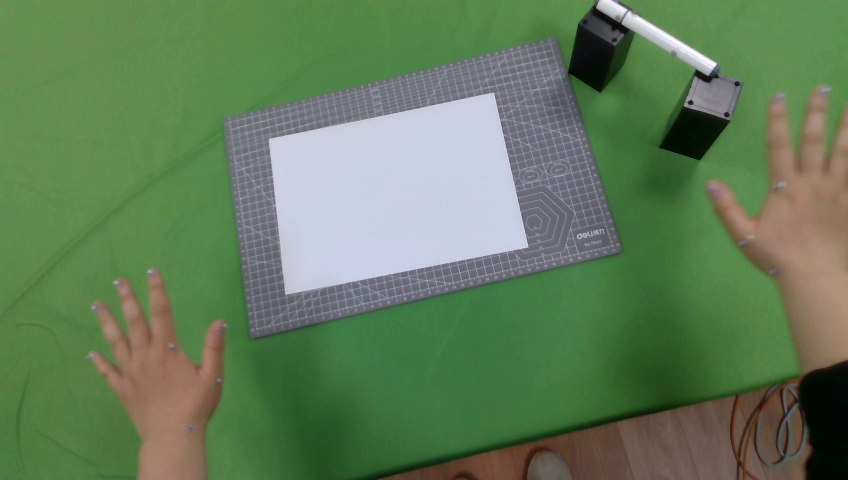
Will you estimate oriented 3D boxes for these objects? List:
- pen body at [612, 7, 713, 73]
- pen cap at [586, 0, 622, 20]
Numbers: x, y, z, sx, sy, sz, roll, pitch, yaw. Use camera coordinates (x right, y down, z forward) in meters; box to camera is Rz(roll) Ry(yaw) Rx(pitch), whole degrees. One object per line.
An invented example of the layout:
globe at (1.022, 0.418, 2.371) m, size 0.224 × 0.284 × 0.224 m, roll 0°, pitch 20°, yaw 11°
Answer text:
pen body at (0.245, -0.224, 0.656) m, size 0.143 × 0.017 × 0.017 m, roll 38°, pitch 82°, yaw 14°
pen cap at (0.198, -0.260, 0.669) m, size 0.038 × 0.017 × 0.017 m, roll 37°, pitch 82°, yaw 15°
